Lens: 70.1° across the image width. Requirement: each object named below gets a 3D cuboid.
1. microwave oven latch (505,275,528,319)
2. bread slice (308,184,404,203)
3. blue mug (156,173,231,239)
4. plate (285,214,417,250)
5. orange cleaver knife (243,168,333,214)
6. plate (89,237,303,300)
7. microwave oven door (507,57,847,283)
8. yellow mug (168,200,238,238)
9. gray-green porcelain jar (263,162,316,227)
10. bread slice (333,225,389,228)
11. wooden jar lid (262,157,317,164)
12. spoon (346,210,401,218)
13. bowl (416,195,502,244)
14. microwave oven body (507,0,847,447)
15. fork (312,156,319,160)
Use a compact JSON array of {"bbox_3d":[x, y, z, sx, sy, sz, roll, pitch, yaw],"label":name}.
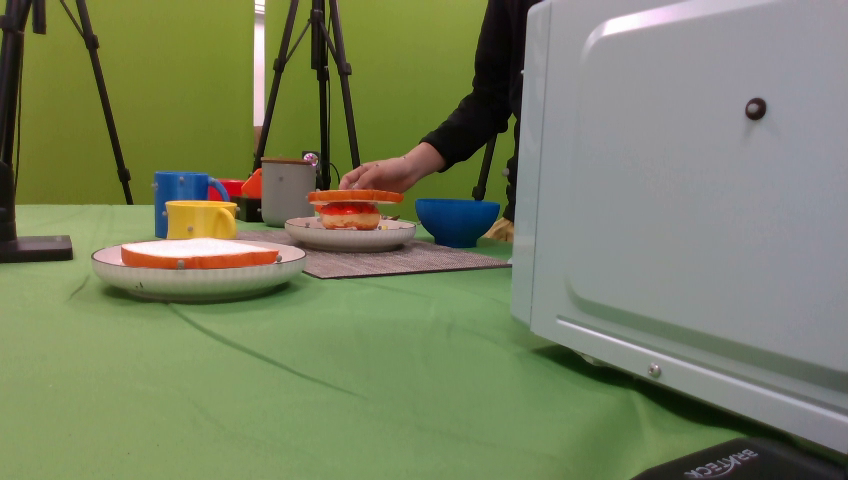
[{"bbox_3d":[0.100,0.042,0.471,0.079,0.029,0.030,-1,7,-28],"label":"microwave oven latch"},{"bbox_3d":[-0.114,-0.072,0.953,0.134,0.018,0.107,-3,-1,21],"label":"bread slice"},{"bbox_3d":[-0.381,-0.057,1.004,0.117,0.106,0.082,1,8,-12],"label":"blue mug"},{"bbox_3d":[-0.116,-0.014,0.964,0.209,0.038,0.209,2,8,0],"label":"plate"},{"bbox_3d":[-0.300,-0.089,1.351,0.212,0.077,0.012,28,-9,-34],"label":"orange cleaver knife"},{"bbox_3d":[-0.233,0.029,0.637,0.208,0.039,0.207,2,7,0],"label":"plate"},{"bbox_3d":[0.281,-0.085,0.711,0.355,0.243,0.039,4,8,18],"label":"microwave oven door"},{"bbox_3d":[-0.320,-0.023,0.904,0.130,0.064,0.100,9,10,36],"label":"yellow mug"},{"bbox_3d":[-0.271,-0.092,1.217,0.106,0.126,0.106,2,7,0],"label":"gray-green porcelain jar"},{"bbox_3d":[-0.103,-0.011,0.961,0.131,0.019,0.105,3,8,24],"label":"bread slice"},{"bbox_3d":[-0.269,-0.154,1.208,0.108,0.020,0.108,3,4,0],"label":"wooden jar lid"},{"bbox_3d":[-0.121,-0.060,1.400,0.042,0.021,0.192,-26,24,-38],"label":"spoon"},{"bbox_3d":[0.059,-0.035,1.049,0.151,0.077,0.151,2,7,0],"label":"bowl"},{"bbox_3d":[0.331,-0.042,0.425,0.444,0.260,0.324,-2,8,-31],"label":"microwave oven body"},{"bbox_3d":[-0.331,-0.144,1.506,0.207,0.018,0.028,-42,-19,22],"label":"fork"}]
